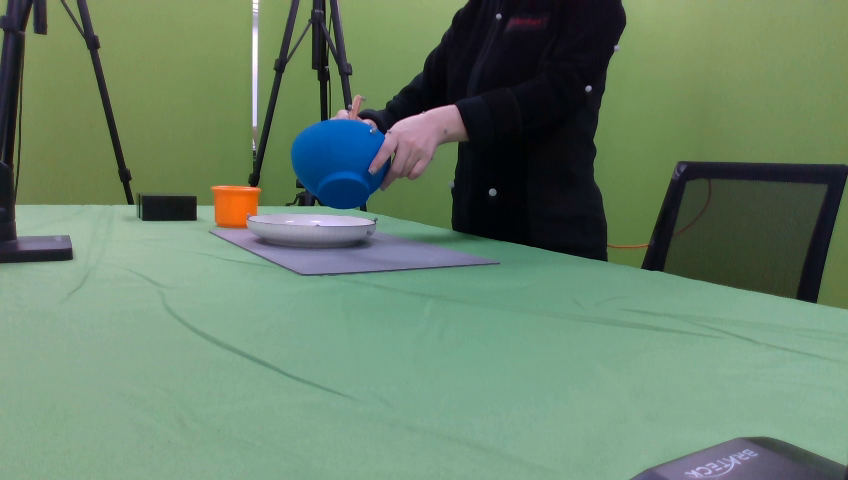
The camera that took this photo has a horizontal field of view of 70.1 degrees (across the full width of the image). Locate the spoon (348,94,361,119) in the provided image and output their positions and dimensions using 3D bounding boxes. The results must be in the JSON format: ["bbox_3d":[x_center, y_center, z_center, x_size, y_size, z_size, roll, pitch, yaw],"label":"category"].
[{"bbox_3d":[-0.126,-0.158,0.969,0.041,0.193,0.021,8,-31,2],"label":"spoon"}]

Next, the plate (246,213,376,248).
[{"bbox_3d":[-0.185,-0.017,0.994,0.209,0.038,0.209,3,8,0],"label":"plate"}]

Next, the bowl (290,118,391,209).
[{"bbox_3d":[-0.120,-0.097,0.882,0.151,0.076,0.151,-6,-33,-3],"label":"bowl"}]
